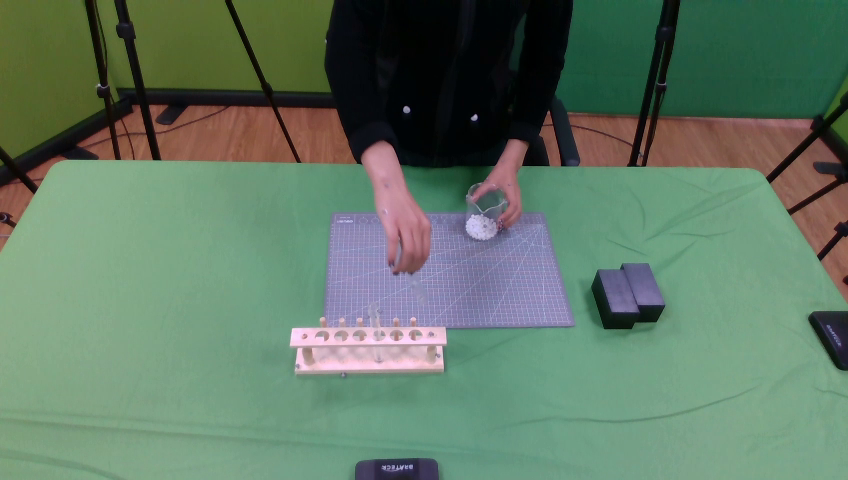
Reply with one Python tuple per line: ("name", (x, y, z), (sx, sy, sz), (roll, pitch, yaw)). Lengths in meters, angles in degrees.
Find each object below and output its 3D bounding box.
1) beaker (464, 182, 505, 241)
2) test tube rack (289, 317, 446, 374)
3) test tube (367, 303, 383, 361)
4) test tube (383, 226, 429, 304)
("beaker", (0.117, -0.051, 1.202), (0.074, 0.101, 0.083), (10, 47, 6))
("test tube rack", (-0.089, 0.167, 0.987), (0.242, 0.085, 0.066), (0, 46, -4))
("test tube", (-0.075, 0.146, 0.941), (0.017, 0.151, 0.017), (0, 49, 0))
("test tube", (-0.027, 0.039, 0.920), (0.017, 0.151, 0.017), (-18, 32, 12))
